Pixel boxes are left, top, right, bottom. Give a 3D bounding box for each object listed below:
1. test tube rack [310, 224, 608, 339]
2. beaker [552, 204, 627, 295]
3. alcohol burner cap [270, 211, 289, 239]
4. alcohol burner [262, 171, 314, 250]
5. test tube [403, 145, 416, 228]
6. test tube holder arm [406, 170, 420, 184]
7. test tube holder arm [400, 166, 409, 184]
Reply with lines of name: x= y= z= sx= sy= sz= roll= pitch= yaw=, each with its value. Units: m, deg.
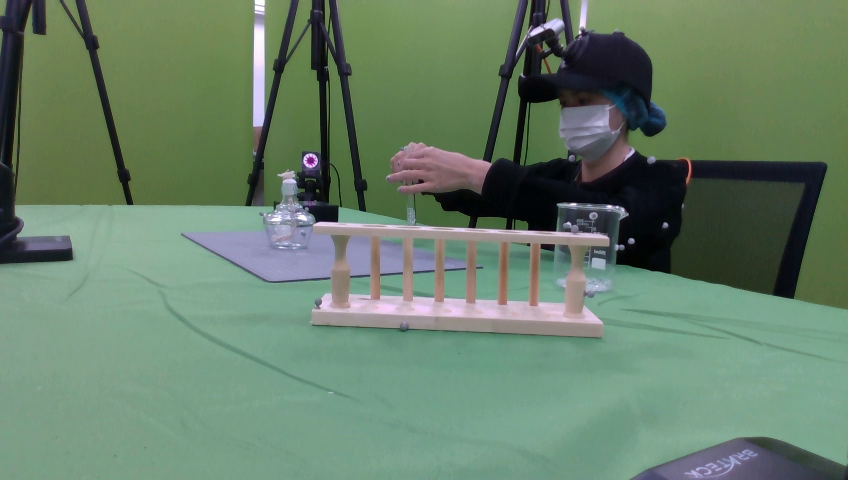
test tube rack: x=0.028 y=0.032 z=0.528 sx=0.242 sy=0.085 sz=0.067 roll=3 pitch=7 yaw=0
beaker: x=0.191 y=0.010 z=0.708 sx=0.083 sy=0.100 sz=0.074 roll=8 pitch=9 yaw=33
alcohol burner cap: x=-0.246 y=-0.026 z=1.035 sx=0.034 sy=0.048 sz=0.034 roll=2 pitch=8 yaw=0
alcohol burner: x=-0.205 y=-0.045 z=0.913 sx=0.078 sy=0.119 sz=0.078 roll=1 pitch=9 yaw=0
test tube: x=-0.024 y=-0.085 z=1.026 sx=0.017 sy=0.150 sz=0.017 roll=-2 pitch=10 yaw=1
test tube holder arm: x=-0.023 y=-0.109 z=1.045 sx=0.010 sy=0.015 sz=0.087 roll=-2 pitch=13 yaw=-16
test tube holder arm: x=-0.036 y=-0.119 z=1.087 sx=0.013 sy=0.015 sz=0.178 roll=1 pitch=12 yaw=-6
